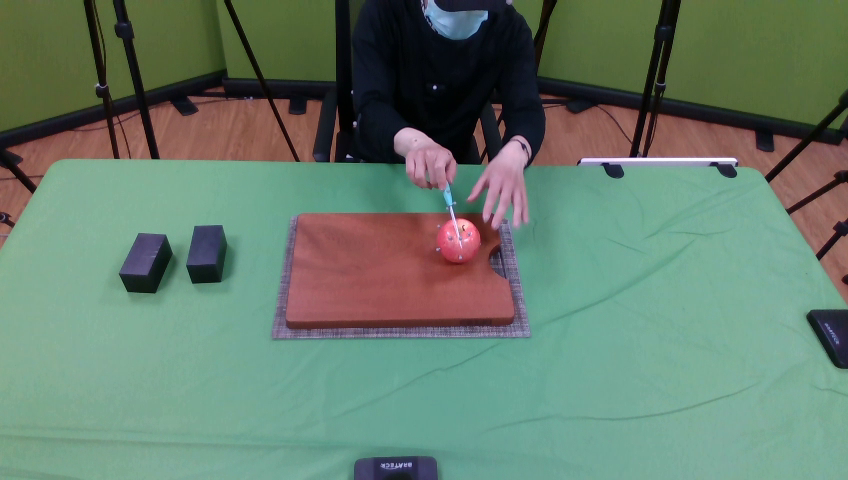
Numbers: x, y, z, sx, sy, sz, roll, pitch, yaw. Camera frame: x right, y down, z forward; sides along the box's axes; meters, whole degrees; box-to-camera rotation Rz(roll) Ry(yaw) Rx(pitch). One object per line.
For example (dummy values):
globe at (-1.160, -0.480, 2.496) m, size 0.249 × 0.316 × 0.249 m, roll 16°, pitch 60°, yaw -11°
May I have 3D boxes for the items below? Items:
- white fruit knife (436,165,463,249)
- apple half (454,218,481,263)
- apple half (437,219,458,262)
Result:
white fruit knife at (0.048, -0.065, 1.113) m, size 0.016 × 0.027 × 0.206 m, roll -11°, pitch 53°, yaw -4°
apple half at (0.078, 0.002, 1.123) m, size 0.053 × 0.075 × 0.080 m, roll 0°, pitch 41°, yaw -10°
apple half at (0.040, 0.003, 1.117) m, size 0.033 × 0.081 × 0.081 m, roll -1°, pitch 46°, yaw -9°
